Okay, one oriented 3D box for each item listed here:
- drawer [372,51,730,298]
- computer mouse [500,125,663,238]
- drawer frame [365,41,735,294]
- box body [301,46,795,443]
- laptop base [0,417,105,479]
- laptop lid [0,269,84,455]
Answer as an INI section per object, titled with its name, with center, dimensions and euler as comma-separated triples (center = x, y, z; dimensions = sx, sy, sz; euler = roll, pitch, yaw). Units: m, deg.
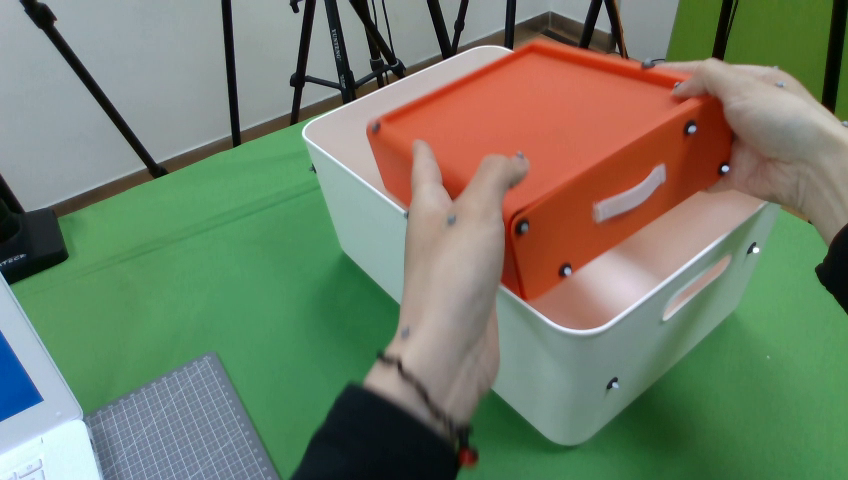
[drawer]
center = 0.090, -0.071, 0.485
dimensions = 0.194, 0.074, 0.209
euler = -32, 37, -16
[computer mouse]
center = 0.117, -0.048, 0.455
dimensions = 0.117, 0.041, 0.062
euler = -26, 49, -10
[drawer frame]
center = 0.090, -0.074, 0.487
dimensions = 0.202, 0.083, 0.211
euler = -31, 36, -17
[box body]
center = 0.090, -0.022, 0.570
dimensions = 0.254, 0.162, 0.360
euler = -31, 46, -25
[laptop base]
center = -0.377, 0.290, 0.395
dimensions = 0.354, 0.023, 0.233
euler = -27, 48, -21
[laptop lid]
center = -0.483, 0.125, 0.441
dimensions = 0.357, 0.243, 0.013
euler = -29, 16, -21
